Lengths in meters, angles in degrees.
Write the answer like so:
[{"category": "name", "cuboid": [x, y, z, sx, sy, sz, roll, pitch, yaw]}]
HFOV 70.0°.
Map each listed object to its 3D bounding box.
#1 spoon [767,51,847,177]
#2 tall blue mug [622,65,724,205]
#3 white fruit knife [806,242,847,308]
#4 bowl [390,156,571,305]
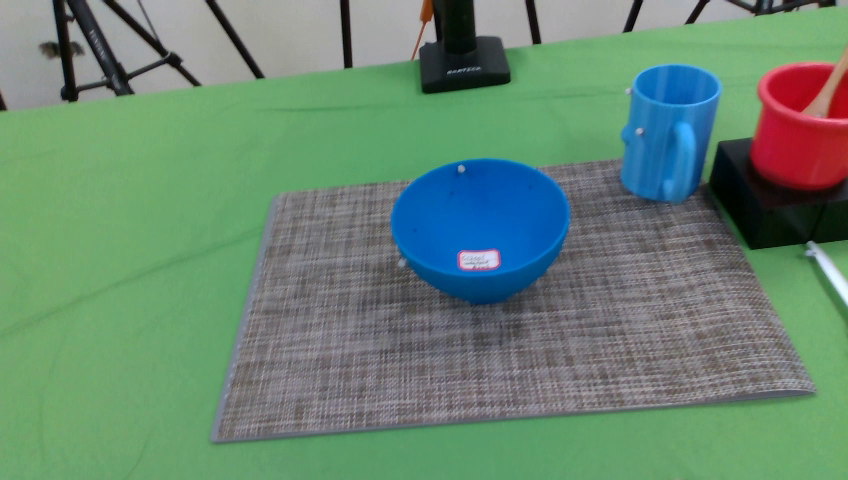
[{"category": "spoon", "cuboid": [0.355, -0.140, 0.513, 0.041, 0.022, 0.194, 34, 102, 38]}, {"category": "tall blue mug", "cuboid": [0.242, -0.092, 0.574, 0.078, 0.109, 0.106, -20, 44, -12]}, {"category": "white fruit knife", "cuboid": [0.344, 0.072, 0.463, 0.027, 0.016, 0.205, 15, 40, -14]}, {"category": "bowl", "cuboid": [0.050, 0.003, 0.529, 0.151, 0.077, 0.150, -5, 44, 5]}]
